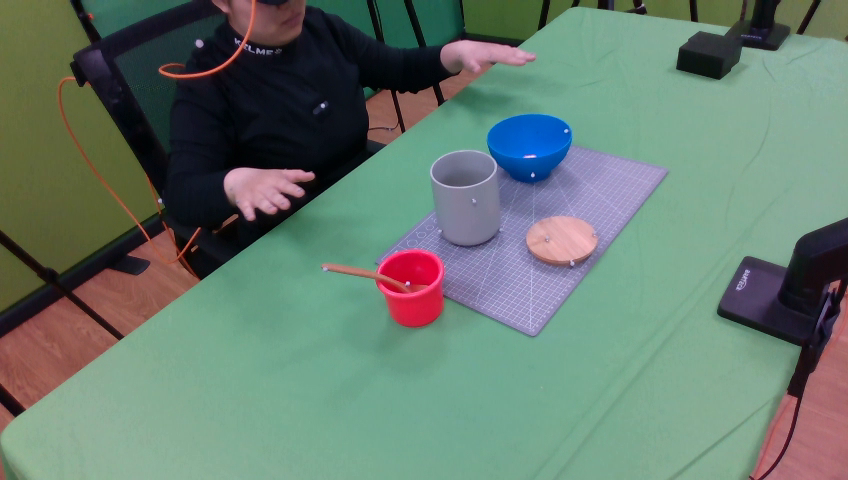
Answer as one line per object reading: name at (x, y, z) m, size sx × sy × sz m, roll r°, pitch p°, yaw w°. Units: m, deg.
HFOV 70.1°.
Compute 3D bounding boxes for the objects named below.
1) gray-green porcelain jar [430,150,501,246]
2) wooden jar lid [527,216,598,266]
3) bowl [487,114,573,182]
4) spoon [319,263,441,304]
gray-green porcelain jar at (0.068, -0.062, 0.958) m, size 0.106 × 0.127 × 0.105 m, roll -5°, pitch 40°, yaw 5°
wooden jar lid at (0.214, 0.003, 0.937) m, size 0.108 × 0.021 × 0.108 m, roll -4°, pitch 40°, yaw 4°
bowl at (0.190, -0.156, 1.085) m, size 0.151 × 0.077 × 0.150 m, roll -5°, pitch 40°, yaw 5°
spoon at (-0.056, 0.056, 0.832) m, size 0.195 × 0.021 × 0.041 m, roll 22°, pitch 27°, yaw -35°
